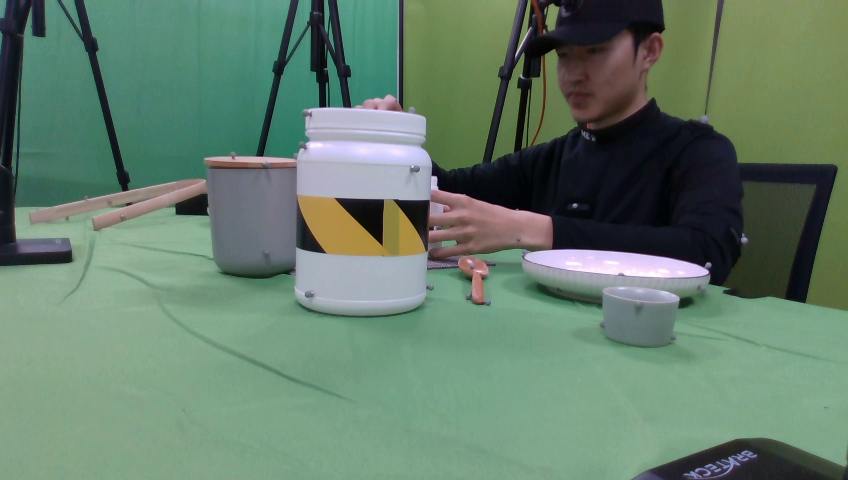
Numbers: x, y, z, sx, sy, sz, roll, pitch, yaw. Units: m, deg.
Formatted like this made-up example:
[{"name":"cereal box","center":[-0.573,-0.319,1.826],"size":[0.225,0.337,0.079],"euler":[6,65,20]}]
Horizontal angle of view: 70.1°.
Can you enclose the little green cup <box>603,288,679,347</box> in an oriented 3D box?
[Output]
[{"name":"little green cup","center":[0.180,0.064,0.505],"size":[0.061,0.038,0.061],"euler":[2,6,0]}]

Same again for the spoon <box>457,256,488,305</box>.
[{"name":"spoon","center":[0.059,0.044,0.696],"size":[0.041,0.021,0.193],"euler":[22,7,0]}]

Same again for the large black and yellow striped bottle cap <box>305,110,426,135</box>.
[{"name":"large black and yellow striped bottle cap","center":[-0.055,-0.110,0.574],"size":[0.115,0.019,0.115],"euler":[1,7,0]}]

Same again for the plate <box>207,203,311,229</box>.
[{"name":"plate","center":[-0.342,-0.050,1.259],"size":[0.208,0.039,0.207],"euler":[2,7,0]}]

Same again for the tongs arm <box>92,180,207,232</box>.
[{"name":"tongs arm","center":[-0.534,-0.076,1.221],"size":[0.028,0.028,0.388],"euler":[-2,15,12]}]

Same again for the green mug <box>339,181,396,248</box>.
[{"name":"green mug","center":[-0.097,-0.044,0.994],"size":[0.093,0.105,0.125],"euler":[-1,7,-20]}]

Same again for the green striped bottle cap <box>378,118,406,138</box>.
[{"name":"green striped bottle cap","center":[-0.052,-0.182,0.984],"size":[0.044,0.020,0.044],"euler":[5,-10,1]}]

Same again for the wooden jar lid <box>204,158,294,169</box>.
[{"name":"wooden jar lid","center":[-0.202,-0.086,0.714],"size":[0.108,0.020,0.108],"euler":[3,11,0]}]

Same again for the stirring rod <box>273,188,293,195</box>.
[{"name":"stirring rod","center":[-0.353,-0.122,1.519],"size":[0.006,0.014,0.176],"euler":[1,7,1]}]

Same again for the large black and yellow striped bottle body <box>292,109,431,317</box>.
[{"name":"large black and yellow striped bottle body","center":[-0.060,-0.028,0.585],"size":[0.131,0.184,0.130],"euler":[3,7,0]}]

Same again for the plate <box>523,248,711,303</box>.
[{"name":"plate","center":[0.219,0.042,0.706],"size":[0.209,0.038,0.209],"euler":[2,7,0]}]

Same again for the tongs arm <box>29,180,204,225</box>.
[{"name":"tongs arm","center":[-0.609,-0.083,1.245],"size":[0.050,0.026,0.386],"euler":[5,16,23]}]

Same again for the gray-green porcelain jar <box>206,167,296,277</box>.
[{"name":"gray-green porcelain jar","center":[-0.201,-0.024,0.724],"size":[0.106,0.126,0.106],"euler":[-1,9,1]}]

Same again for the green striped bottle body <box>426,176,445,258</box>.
[{"name":"green striped bottle body","center":[-0.002,-0.036,0.901],"size":[0.063,0.119,0.063],"euler":[3,8,0]}]
